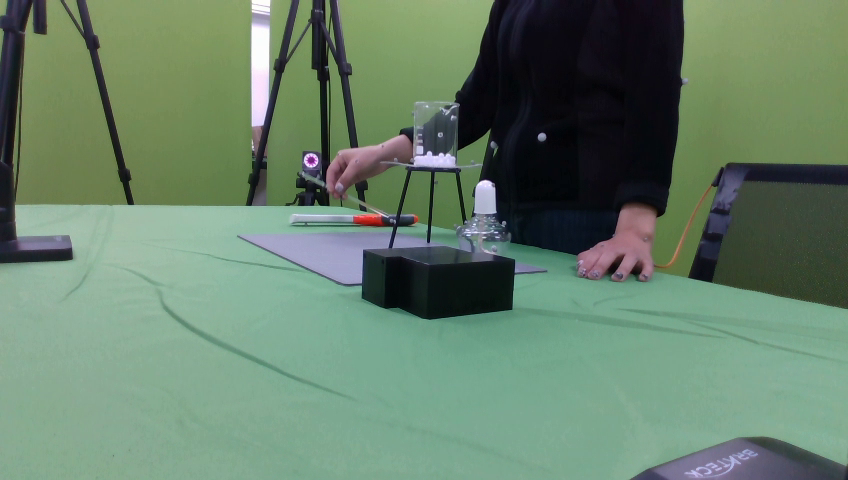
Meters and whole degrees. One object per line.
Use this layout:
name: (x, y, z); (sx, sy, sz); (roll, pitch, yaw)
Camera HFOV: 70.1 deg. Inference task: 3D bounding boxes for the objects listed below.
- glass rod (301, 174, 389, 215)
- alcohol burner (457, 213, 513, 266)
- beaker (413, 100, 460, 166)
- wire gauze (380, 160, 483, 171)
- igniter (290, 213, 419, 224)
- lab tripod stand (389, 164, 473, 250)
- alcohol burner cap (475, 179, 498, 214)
glass rod: (-0.147, -0.086, 1.159); (0.201, 0.008, 0.008); (24, -6, -34)
alcohol burner: (0.084, -0.025, 0.837); (0.078, 0.119, 0.078); (0, 8, 0)
beaker: (0.020, -0.167, 0.953); (0.073, 0.100, 0.084); (6, 9, 26)
wire gauze: (0.011, -0.119, 0.951); (0.122, 0.011, 0.124); (-5, 12, -32)
igniter: (-0.143, -0.046, 1.288); (0.278, 0.025, 0.057); (-1, -3, -24)
lab tripod stand: (0.011, -0.054, 0.960); (0.148, 0.131, 0.148); (2, 9, 0)
alcohol burner cap: (0.086, -0.061, 0.833); (0.034, 0.048, 0.034); (-1, 11, 0)
